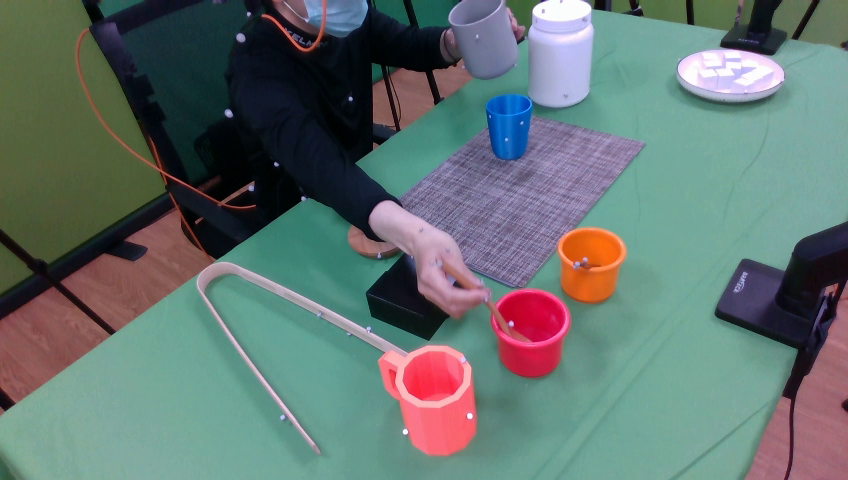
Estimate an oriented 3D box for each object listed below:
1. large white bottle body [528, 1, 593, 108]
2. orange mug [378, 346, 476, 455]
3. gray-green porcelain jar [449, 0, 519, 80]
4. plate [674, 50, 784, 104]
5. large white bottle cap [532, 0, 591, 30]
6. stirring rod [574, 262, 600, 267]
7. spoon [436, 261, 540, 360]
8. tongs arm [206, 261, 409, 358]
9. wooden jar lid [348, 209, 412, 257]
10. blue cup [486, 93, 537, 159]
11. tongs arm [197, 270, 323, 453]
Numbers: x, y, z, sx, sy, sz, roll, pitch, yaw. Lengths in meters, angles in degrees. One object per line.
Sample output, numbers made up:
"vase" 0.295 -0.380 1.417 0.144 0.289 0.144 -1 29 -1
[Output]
"large white bottle body" 0.283 -0.386 1.259 0.130 0.185 0.130 -5 41 4
"orange mug" 0.002 0.179 0.708 0.125 0.101 0.083 25 50 27
"gray-green porcelain jar" 0.116 -0.375 1.131 0.105 0.127 0.105 -15 45 15
"plate" 0.631 -0.336 1.262 0.207 0.039 0.206 -4 41 4
"large white bottle cap" 0.274 -0.450 1.204 0.115 0.018 0.114 -4 41 4
"stirring rod" 0.221 0.033 0.816 0.014 0.006 0.177 7 1 22
"spoon" 0.080 0.085 0.730 0.021 0.195 0.041 -33 27 19
"tongs arm" -0.179 0.105 0.870 0.382 0.026 0.051 24 54 32
"wooden jar lid" -0.071 -0.010 0.997 0.108 0.021 0.108 -5 44 5
"blue cup" 0.160 -0.209 1.130 0.092 0.100 0.092 -4 39 4
"tongs arm" -0.236 0.152 0.830 0.028 0.028 0.384 -36 48 -18
